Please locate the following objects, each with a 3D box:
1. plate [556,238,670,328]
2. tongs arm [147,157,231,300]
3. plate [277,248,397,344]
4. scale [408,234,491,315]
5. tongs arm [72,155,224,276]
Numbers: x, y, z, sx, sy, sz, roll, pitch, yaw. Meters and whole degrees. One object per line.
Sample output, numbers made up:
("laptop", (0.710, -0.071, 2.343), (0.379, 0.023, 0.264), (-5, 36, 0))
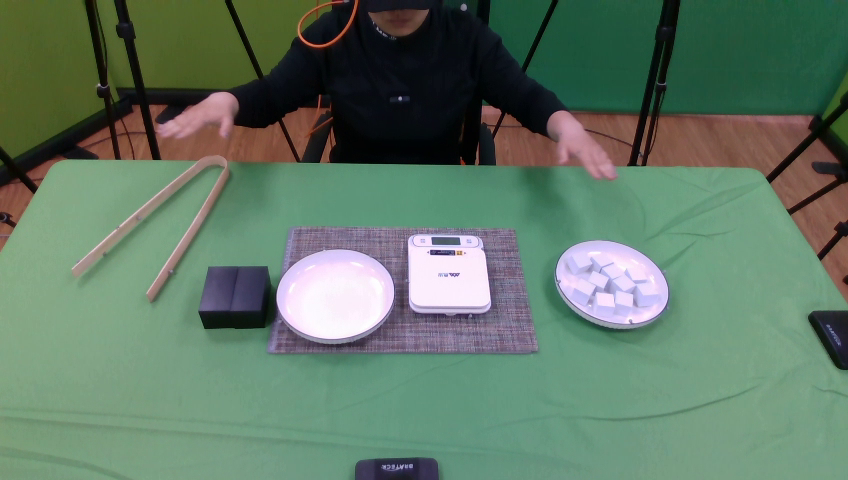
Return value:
("plate", (0.347, 0.083, 1.130), (0.209, 0.038, 0.208), (2, 47, -2))
("tongs arm", (-0.454, -0.036, 1.193), (0.028, 0.028, 0.385), (6, 45, 6))
("plate", (-0.152, 0.101, 1.073), (0.208, 0.039, 0.206), (2, 46, -2))
("scale", (0.045, 0.055, 1.135), (0.149, 0.032, 0.199), (1, 46, -3))
("tongs arm", (-0.532, -0.058, 1.205), (0.050, 0.026, 0.383), (18, 46, 13))
